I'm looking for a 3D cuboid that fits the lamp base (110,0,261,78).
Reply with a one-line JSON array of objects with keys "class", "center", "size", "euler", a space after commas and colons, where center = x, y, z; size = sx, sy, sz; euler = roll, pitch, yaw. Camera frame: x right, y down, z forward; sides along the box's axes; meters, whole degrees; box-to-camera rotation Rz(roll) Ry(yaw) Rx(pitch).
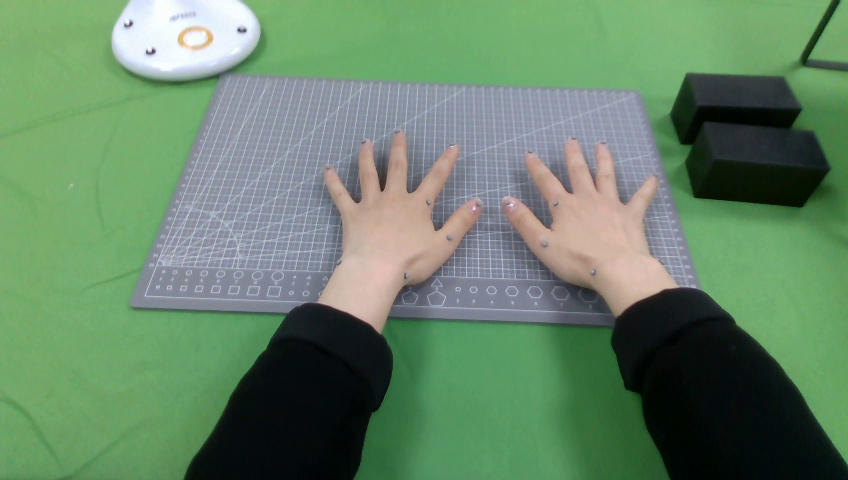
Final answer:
[{"class": "lamp base", "center": [-0.270, -0.289, 0.622], "size": [0.160, 0.182, 0.177], "euler": [-33, 57, -25]}]
